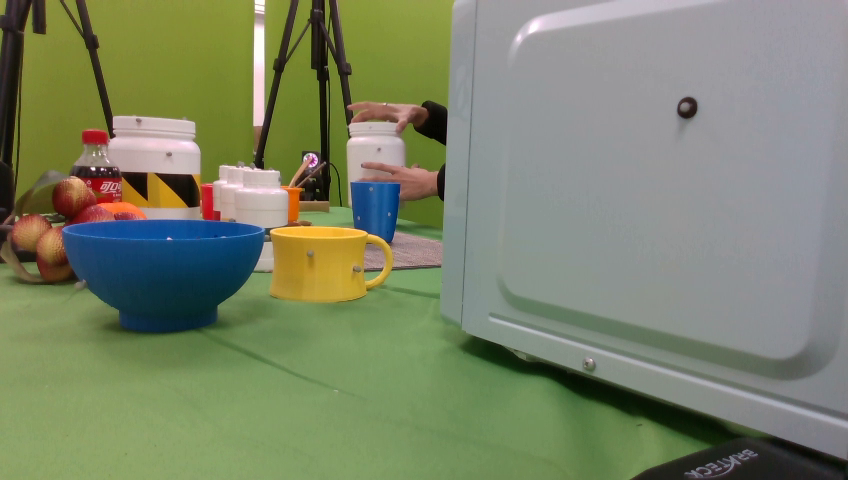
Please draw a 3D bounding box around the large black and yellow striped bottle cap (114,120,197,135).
[{"bbox_3d":[-0.407,-0.171,0.920,0.115,0.019,0.115,2,9,0],"label":"large black and yellow striped bottle cap"}]

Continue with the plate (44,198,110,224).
[{"bbox_3d":[-0.617,-0.056,1.179,0.209,0.038,0.209,3,7,0],"label":"plate"}]

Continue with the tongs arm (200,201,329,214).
[{"bbox_3d":[-0.378,-0.079,1.440,0.387,0.026,0.050,-4,7,-45],"label":"tongs arm"}]

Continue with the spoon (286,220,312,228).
[{"bbox_3d":[-0.232,-0.027,1.116,0.041,0.021,0.193,-22,6,4],"label":"spoon"}]

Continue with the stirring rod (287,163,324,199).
[{"bbox_3d":[-0.278,-0.105,1.293,0.176,0.006,0.014,-47,24,-18],"label":"stirring rod"}]

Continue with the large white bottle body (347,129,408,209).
[{"bbox_3d":[-0.102,-0.161,1.324,0.131,0.184,0.130,-1,7,0],"label":"large white bottle body"}]

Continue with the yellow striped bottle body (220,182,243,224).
[{"bbox_3d":[-0.246,-0.036,0.825,0.063,0.120,0.063,3,8,0],"label":"yellow striped bottle body"}]

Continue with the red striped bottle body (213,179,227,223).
[{"bbox_3d":[-0.284,-0.048,0.910,0.063,0.119,0.063,3,12,0],"label":"red striped bottle body"}]

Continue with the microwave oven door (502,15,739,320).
[{"bbox_3d":[0.217,-0.065,0.601,0.358,0.243,0.039,-4,10,-41],"label":"microwave oven door"}]

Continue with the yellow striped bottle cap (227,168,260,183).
[{"bbox_3d":[-0.243,-0.087,0.818,0.044,0.018,0.044,3,6,0],"label":"yellow striped bottle cap"}]

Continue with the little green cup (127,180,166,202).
[{"bbox_3d":[-0.486,-0.086,1.061,0.061,0.038,0.061,1,7,0],"label":"little green cup"}]

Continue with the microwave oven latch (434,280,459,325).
[{"bbox_3d":[0.044,0.045,0.470,0.079,0.029,0.030,-2,8,-39],"label":"microwave oven latch"}]

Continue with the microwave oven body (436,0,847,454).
[{"bbox_3d":[0.279,-0.040,0.465,0.444,0.260,0.324,-3,9,-41],"label":"microwave oven body"}]

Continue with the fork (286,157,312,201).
[{"bbox_3d":[-0.289,-0.116,1.321,0.028,0.019,0.207,5,51,20],"label":"fork"}]

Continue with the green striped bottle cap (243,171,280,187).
[{"bbox_3d":[-0.198,-0.074,0.736,0.044,0.020,0.044,1,7,0],"label":"green striped bottle cap"}]

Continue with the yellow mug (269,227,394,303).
[{"bbox_3d":[-0.094,0.023,0.629,0.131,0.064,0.099,0,7,-22],"label":"yellow mug"}]

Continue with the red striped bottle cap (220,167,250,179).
[{"bbox_3d":[-0.281,-0.100,0.901,0.044,0.017,0.044,0,5,0],"label":"red striped bottle cap"}]

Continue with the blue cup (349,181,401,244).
[{"bbox_3d":[-0.082,-0.047,1.010,0.093,0.100,0.092,1,6,0],"label":"blue cup"}]

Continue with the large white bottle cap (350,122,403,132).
[{"bbox_3d":[-0.103,-0.245,1.313,0.115,0.018,0.115,-1,8,0],"label":"large white bottle cap"}]

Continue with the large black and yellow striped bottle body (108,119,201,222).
[{"bbox_3d":[-0.412,-0.088,0.930,0.131,0.184,0.130,3,7,0],"label":"large black and yellow striped bottle body"}]

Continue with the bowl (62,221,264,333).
[{"bbox_3d":[-0.209,0.029,0.496,0.151,0.077,0.151,2,7,0],"label":"bowl"}]

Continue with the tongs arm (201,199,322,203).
[{"bbox_3d":[-0.434,-0.088,1.508,0.390,0.028,0.028,-1,2,-30],"label":"tongs arm"}]

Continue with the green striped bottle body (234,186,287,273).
[{"bbox_3d":[-0.200,-0.023,0.743,0.063,0.119,0.063,2,7,0],"label":"green striped bottle body"}]
